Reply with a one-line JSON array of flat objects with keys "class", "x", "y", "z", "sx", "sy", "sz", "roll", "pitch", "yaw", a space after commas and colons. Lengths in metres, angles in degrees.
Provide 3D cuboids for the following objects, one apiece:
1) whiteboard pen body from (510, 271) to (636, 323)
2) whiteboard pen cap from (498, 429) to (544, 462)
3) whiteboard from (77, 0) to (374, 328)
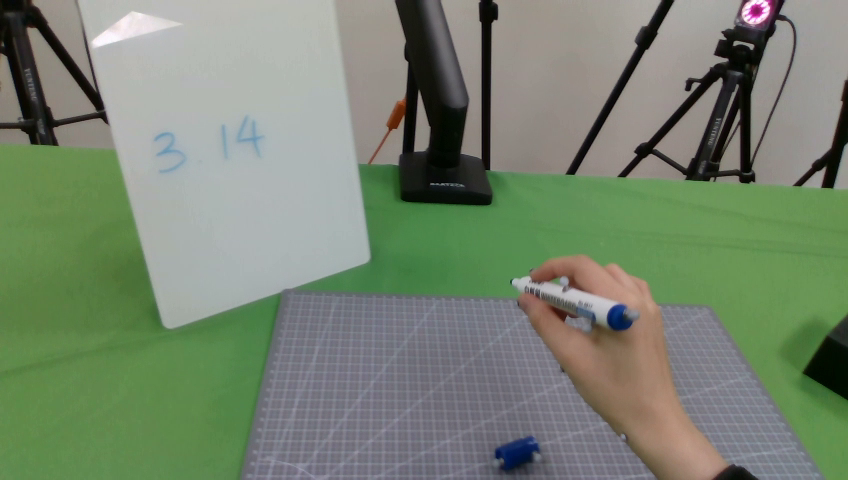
[{"class": "whiteboard pen body", "x": 0.090, "y": 0.034, "z": 0.402, "sx": 0.017, "sy": 0.017, "sz": 0.140, "roll": -7, "pitch": 7, "yaw": -18}, {"class": "whiteboard pen cap", "x": 0.074, "y": 0.156, "z": 0.461, "sx": 0.033, "sy": 0.018, "sz": 0.018, "roll": -8, "pitch": 37, "yaw": -26}, {"class": "whiteboard", "x": -0.196, "y": -0.108, "z": 0.600, "sx": 0.218, "sy": 0.307, "sz": 0.142, "roll": -19, "pitch": 23, "yaw": -32}]
